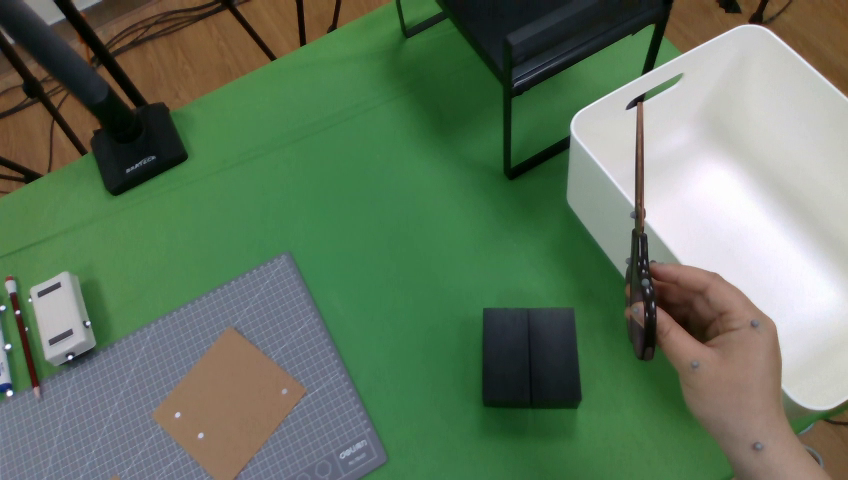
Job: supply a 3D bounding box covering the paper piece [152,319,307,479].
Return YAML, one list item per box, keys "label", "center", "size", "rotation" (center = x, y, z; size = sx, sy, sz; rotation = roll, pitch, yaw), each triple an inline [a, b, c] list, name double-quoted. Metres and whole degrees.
- label: "paper piece"
  center: [-0.230, 0.185, 0.711]
  size: [0.137, 0.009, 0.136]
  rotation: [35, 78, 19]

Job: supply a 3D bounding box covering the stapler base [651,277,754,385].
- label: "stapler base"
  center: [0.308, 0.095, 0.672]
  size: [0.041, 0.024, 0.129]
  rotation: [-33, 68, -6]

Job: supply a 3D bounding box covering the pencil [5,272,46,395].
- label: "pencil"
  center: [-0.513, 0.118, 0.780]
  size: [0.012, 0.012, 0.192]
  rotation: [-31, 65, -8]

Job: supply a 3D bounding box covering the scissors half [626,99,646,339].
- label: "scissors half"
  center: [0.151, -0.011, 0.429]
  size: [0.013, 0.176, 0.040]
  rotation: [-4, 20, 7]

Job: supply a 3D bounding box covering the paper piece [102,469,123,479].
- label: "paper piece"
  center: [-0.354, 0.345, 0.651]
  size: [0.135, 0.004, 0.134]
  rotation: [-42, 68, -14]

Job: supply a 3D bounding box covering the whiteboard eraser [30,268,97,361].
- label: "whiteboard eraser"
  center: [-0.455, 0.094, 0.767]
  size: [0.055, 0.042, 0.111]
  rotation: [-30, 65, -6]

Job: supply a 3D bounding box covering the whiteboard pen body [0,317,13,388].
- label: "whiteboard pen body"
  center: [-0.548, 0.127, 0.777]
  size: [0.017, 0.017, 0.139]
  rotation: [-28, 64, -6]

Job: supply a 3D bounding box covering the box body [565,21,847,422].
- label: "box body"
  center: [0.347, -0.020, 0.650]
  size: [0.254, 0.162, 0.360]
  rotation: [-29, 65, -6]

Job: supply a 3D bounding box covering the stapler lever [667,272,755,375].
- label: "stapler lever"
  center: [0.307, 0.086, 0.648]
  size: [0.027, 0.040, 0.117]
  rotation: [-33, 69, -6]

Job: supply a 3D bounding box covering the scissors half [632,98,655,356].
- label: "scissors half"
  center: [0.147, -0.007, 0.409]
  size: [0.013, 0.040, 0.175]
  rotation: [-3, 93, 13]
